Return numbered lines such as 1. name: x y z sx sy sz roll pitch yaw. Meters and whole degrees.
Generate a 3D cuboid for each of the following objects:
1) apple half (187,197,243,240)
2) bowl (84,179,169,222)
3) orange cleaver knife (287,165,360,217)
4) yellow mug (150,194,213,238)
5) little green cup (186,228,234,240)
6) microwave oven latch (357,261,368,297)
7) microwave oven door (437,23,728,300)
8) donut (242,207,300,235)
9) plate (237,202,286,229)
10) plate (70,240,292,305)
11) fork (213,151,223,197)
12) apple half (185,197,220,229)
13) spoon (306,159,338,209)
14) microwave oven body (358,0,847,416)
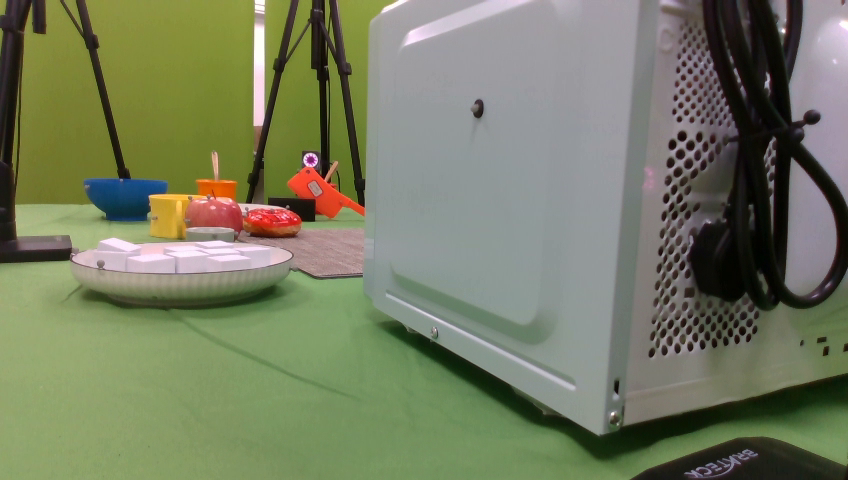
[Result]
1. apple half: -0.305 -0.026 0.907 0.053 0.074 0.081 12 8 31
2. bowl: -0.584 -0.078 1.194 0.151 0.077 0.151 3 8 0
3. orange cleaver knife: -0.210 -0.093 1.382 0.212 0.077 0.012 33 1 -15
4. yellow mug: -0.401 -0.039 1.003 0.100 0.064 0.130 0 9 -20
5. little green cup: -0.284 0.005 0.805 0.061 0.038 0.061 3 8 0
6. microwave oven latch: -0.019 0.033 0.531 0.079 0.029 0.030 -1 7 -27
7. microwave oven door: 0.181 -0.072 0.621 0.358 0.243 0.039 -2 8 -29
8. donut: -0.263 -0.032 1.039 0.099 0.048 0.099 4 9 0
9. plate: -0.376 -0.048 1.183 0.209 0.038 0.209 2 8 0
10. plate: -0.242 0.031 0.618 0.208 0.039 0.207 2 8 0
11. fork: -0.494 -0.143 1.442 0.028 0.018 0.206 -2 52 -20
12. apple half: -0.338 -0.031 0.927 0.032 0.081 0.081 12 12 31
13. spoon: -0.257 -0.147 1.567 0.041 0.022 0.193 1 51 20
14. microwave oven body: 0.211 -0.047 0.475 0.444 0.260 0.324 -1 7 -28
